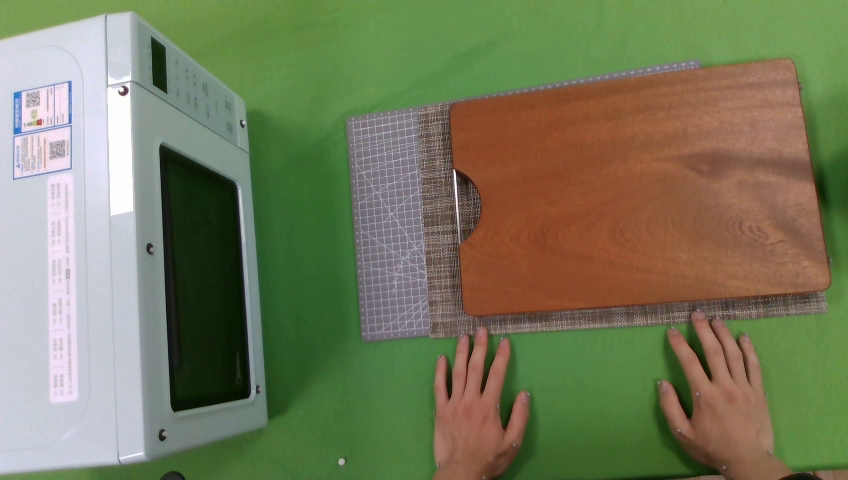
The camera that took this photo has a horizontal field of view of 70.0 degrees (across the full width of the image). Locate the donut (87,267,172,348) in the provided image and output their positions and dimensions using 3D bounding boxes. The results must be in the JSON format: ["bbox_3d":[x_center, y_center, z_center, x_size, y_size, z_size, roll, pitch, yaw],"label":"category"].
[{"bbox_3d":[-0.352,0.081,0.724,0.099,0.048,0.099,0,98,-1],"label":"donut"}]

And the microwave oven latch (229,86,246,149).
[{"bbox_3d":[-0.256,-0.160,0.804,0.030,0.029,0.079,-9,81,9],"label":"microwave oven latch"}]

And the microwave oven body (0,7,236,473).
[{"bbox_3d":[-0.399,0.021,0.707,0.325,0.261,0.440,-9,81,9],"label":"microwave oven body"}]

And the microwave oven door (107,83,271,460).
[{"bbox_3d":[-0.252,0.038,0.671,0.039,0.245,0.354,-9,80,10],"label":"microwave oven door"}]

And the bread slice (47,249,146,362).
[{"bbox_3d":[-0.370,0.083,0.678,0.134,0.018,0.106,-22,81,22],"label":"bread slice"}]

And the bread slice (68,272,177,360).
[{"bbox_3d":[-0.379,0.092,0.757,0.131,0.019,0.105,5,89,4],"label":"bread slice"}]
